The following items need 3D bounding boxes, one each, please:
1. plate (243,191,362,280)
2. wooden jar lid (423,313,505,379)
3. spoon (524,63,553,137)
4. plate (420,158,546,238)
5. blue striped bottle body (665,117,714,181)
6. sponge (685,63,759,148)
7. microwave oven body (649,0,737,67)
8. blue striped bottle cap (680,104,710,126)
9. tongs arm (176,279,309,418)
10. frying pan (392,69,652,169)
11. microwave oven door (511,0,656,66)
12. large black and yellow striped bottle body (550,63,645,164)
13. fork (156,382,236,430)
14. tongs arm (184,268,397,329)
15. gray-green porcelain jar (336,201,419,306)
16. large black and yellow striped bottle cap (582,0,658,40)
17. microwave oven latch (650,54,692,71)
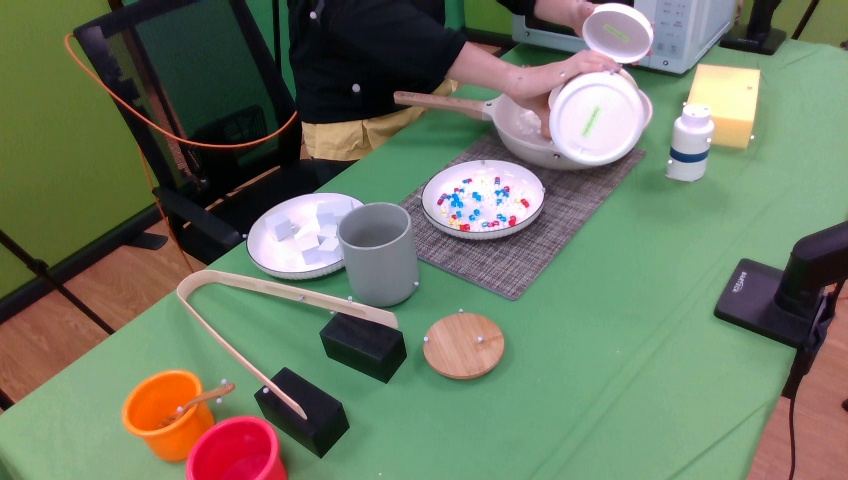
[{"bbox_3d":[-0.188,-0.005,0.992,0.207,0.039,0.206,-4,41,4],"label":"plate"},{"bbox_3d":[0.053,0.142,0.800,0.108,0.021,0.108,-5,39,4],"label":"wooden jar lid"},{"bbox_3d":[0.234,-0.281,1.203,0.041,0.022,0.192,-13,68,-2],"label":"spoon"},{"bbox_3d":[0.099,-0.067,1.017,0.209,0.038,0.208,-4,40,4],"label":"plate"},{"bbox_3d":[0.450,-0.166,1.022,0.063,0.121,0.063,-5,41,5],"label":"blue striped bottle body"},{"bbox_3d":[0.569,-0.263,1.164,0.117,0.061,0.207,12,45,22],"label":"sponge"},{"bbox_3d":[0.475,-0.602,1.411,0.438,0.261,0.327,23,50,32],"label":"microwave oven body"},{"bbox_3d":[0.443,-0.205,0.989,0.044,0.021,0.044,-1,42,1],"label":"blue striped bottle cap"},{"bbox_3d":[-0.254,0.132,0.801,0.028,0.028,0.384,-41,40,-23],"label":"tongs arm"},{"bbox_3d":[0.175,-0.249,1.166,0.487,0.103,0.306,12,43,9],"label":"frying pan"},{"bbox_3d":[0.351,-0.540,1.349,0.353,0.245,0.039,24,50,31],"label":"microwave oven door"},{"bbox_3d":[0.267,-0.201,0.934,0.130,0.131,0.184,5,24,14],"label":"large black and yellow striped bottle body"},{"bbox_3d":[-0.262,0.189,0.690,0.018,0.206,0.028,48,43,-7],"label":"fork"},{"bbox_3d":[-0.202,0.084,0.848,0.382,0.027,0.051,11,45,35],"label":"tongs arm"},{"bbox_3d":[-0.064,0.024,0.872,0.106,0.127,0.105,-4,41,4],"label":"gray-green porcelain jar"},{"bbox_3d":[0.304,-0.350,0.943,0.115,0.019,0.114,2,50,-2],"label":"large black and yellow striped bottle cap"},{"bbox_3d":[0.530,-0.386,1.301,0.078,0.029,0.030,23,50,31],"label":"microwave oven latch"}]
